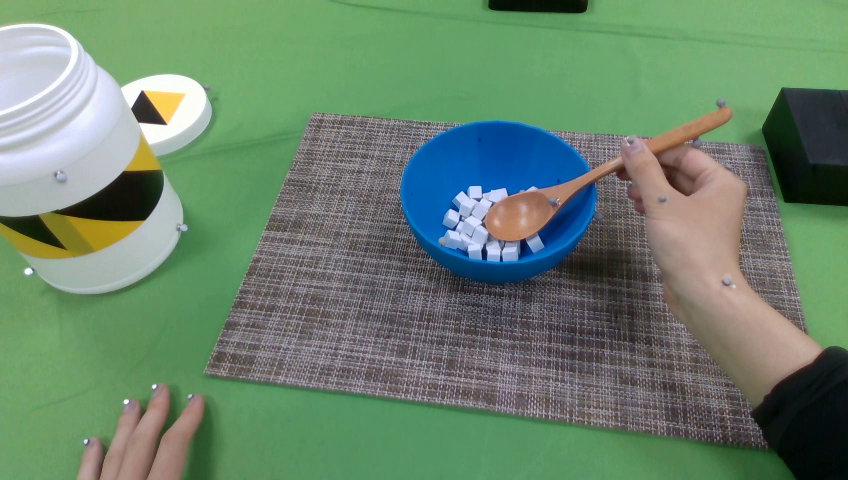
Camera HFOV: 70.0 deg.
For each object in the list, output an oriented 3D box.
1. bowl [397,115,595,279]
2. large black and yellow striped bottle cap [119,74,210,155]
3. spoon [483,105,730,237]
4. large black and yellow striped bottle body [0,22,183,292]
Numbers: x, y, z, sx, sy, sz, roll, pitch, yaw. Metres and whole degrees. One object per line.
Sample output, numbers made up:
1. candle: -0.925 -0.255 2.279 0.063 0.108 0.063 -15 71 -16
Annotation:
1. bowl: 0.055 -0.021 0.491 0.151 0.077 0.150 -1 53 2
2. large black and yellow striped bottle cap: -0.286 -0.133 0.637 0.115 0.019 0.114 0 53 1
3. spoon: 0.132 -0.052 0.456 0.193 0.022 0.041 -27 57 22
4. large black and yellow striped bottle body: -0.283 -0.059 0.474 0.131 0.185 0.129 -1 52 2
